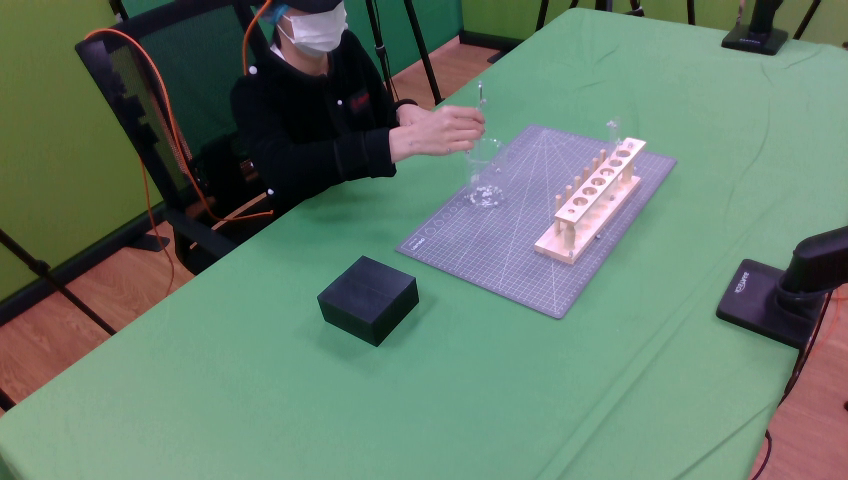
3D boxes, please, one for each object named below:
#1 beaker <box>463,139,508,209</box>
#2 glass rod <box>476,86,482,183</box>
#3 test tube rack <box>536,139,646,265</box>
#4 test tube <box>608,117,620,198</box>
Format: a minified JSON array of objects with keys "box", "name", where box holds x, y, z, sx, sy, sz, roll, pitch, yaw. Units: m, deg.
[{"box":[0.108,-0.111,1.027,0.073,0.101,0.084,25,49,33],"name":"beaker"},{"box":[0.091,-0.168,0.993,0.008,0.200,0.008,-2,48,2],"name":"glass rod"},{"box":[0.268,-0.071,0.964,0.066,0.085,0.243,23,49,32],"name":"test tube rack"},{"box":[0.298,-0.125,0.946,0.017,0.151,0.017,-8,42,8],"name":"test tube"}]
